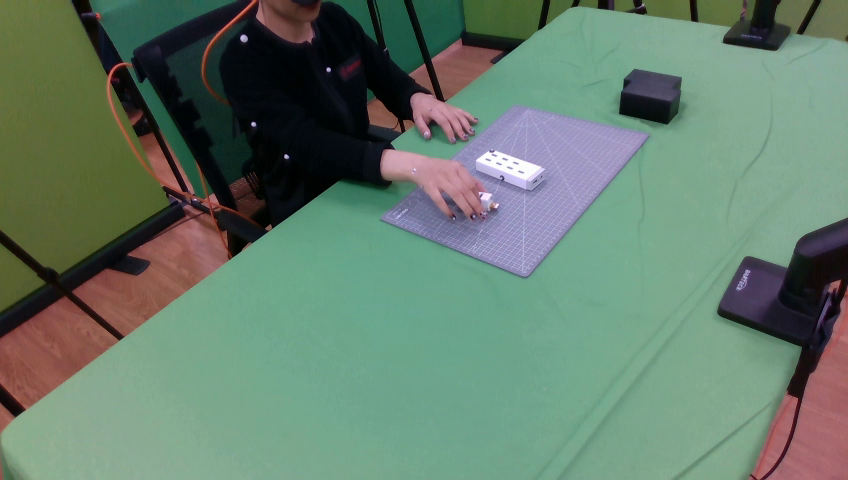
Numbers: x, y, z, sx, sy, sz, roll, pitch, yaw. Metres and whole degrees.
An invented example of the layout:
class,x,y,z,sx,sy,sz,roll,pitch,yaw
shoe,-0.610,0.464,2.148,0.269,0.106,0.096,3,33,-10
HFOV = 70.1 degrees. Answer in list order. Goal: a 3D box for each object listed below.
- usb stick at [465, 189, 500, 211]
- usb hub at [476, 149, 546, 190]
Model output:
class,x,y,z,sx,sy,sz,roll,pitch,yaw
usb stick,0.101,-0.067,1.032,0.059,0.027,0.021,16,48,23
usb hub,0.157,-0.129,1.098,0.124,0.025,0.049,28,52,35
